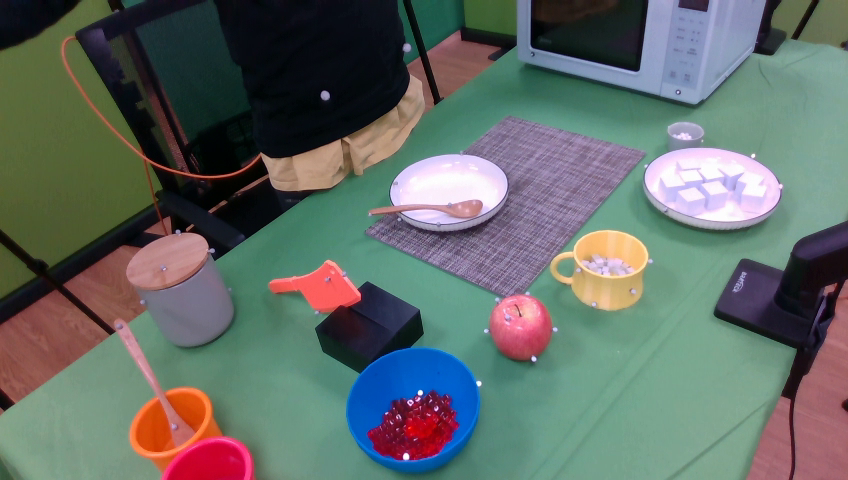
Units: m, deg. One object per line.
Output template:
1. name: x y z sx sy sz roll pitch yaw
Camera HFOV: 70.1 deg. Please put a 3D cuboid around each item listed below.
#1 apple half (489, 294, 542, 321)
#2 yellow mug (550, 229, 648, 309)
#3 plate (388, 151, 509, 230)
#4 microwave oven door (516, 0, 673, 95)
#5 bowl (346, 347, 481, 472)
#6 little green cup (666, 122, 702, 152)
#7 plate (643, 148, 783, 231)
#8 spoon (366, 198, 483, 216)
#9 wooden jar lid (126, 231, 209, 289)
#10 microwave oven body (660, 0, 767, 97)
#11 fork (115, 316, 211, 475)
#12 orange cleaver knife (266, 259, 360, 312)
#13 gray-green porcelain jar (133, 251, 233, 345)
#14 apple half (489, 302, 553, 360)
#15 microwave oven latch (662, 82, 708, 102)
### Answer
1. apple half: 0.120 0.098 0.800 0.081 0.081 0.032 -10 43 -4
2. yellow mug: 0.245 0.040 0.857 0.130 0.064 0.099 1 42 11
3. plate: 0.044 -0.082 1.042 0.209 0.038 0.208 -4 40 4
4. microwave oven door: 0.344 -0.458 1.256 0.353 0.245 0.039 26 51 33
5. bowl: -0.008 0.205 0.691 0.151 0.077 0.150 -4 40 4
6. little green cup: 0.471 -0.184 1.102 0.061 0.039 0.061 -5 41 5
7. plate: 0.464 -0.080 0.986 0.207 0.039 0.206 -4 41 4
8. spoon: 0.002 -0.055 0.996 0.194 0.022 0.041 0 46 -11
9. wooden jar lid: -0.340 0.029 0.809 0.108 0.021 0.108 -5 39 5
10. microwave oven body: 0.473 -0.516 1.313 0.438 0.261 0.327 26 51 34
11. fork: -0.309 0.180 0.707 0.028 0.018 0.207 -30 89 -20
12. orange cleaver knife: -0.161 0.070 0.859 0.210 0.077 0.012 -13 22 49
13. gray-green porcelain jar: -0.334 0.076 0.849 0.106 0.127 0.105 -4 41 4
14. apple half: 0.127 0.123 0.772 0.081 0.075 0.053 -8 44 -6
15. microwave oven latch: 0.517 -0.298 1.202 0.078 0.029 0.030 27 52 34
